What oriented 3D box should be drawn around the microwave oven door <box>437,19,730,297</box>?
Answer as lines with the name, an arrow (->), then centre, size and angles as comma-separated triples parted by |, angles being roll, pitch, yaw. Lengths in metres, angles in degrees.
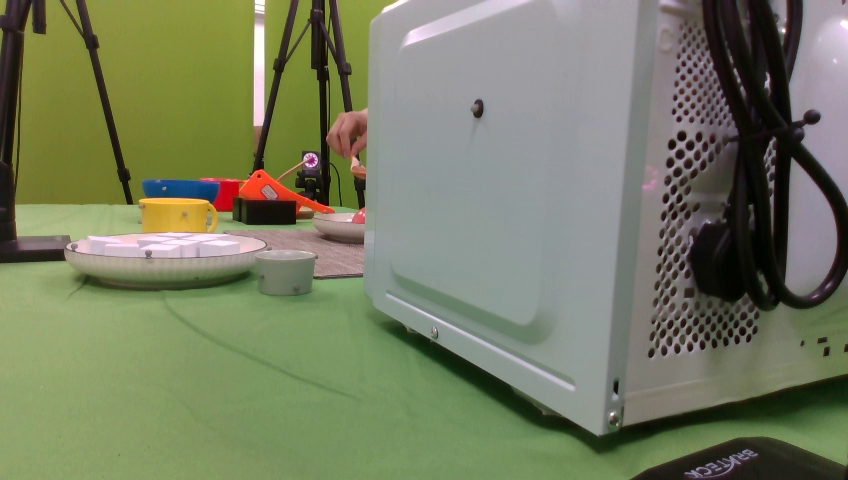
microwave oven door -> 0.180, -0.076, 0.618 | 0.358, 0.243, 0.039 | -2, 9, -28

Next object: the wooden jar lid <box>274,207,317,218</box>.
wooden jar lid -> -0.303, -0.065, 1.409 | 0.108, 0.020, 0.108 | 3, 9, 0

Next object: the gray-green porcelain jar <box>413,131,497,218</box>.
gray-green porcelain jar -> 0.060, -0.111, 1.074 | 0.106, 0.127, 0.105 | -36, 15, 12

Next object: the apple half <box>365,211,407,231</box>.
apple half -> -0.068, -0.037, 1.103 | 0.081, 0.033, 0.081 | -2, 10, 1

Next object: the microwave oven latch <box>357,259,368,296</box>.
microwave oven latch -> -0.019, 0.031, 0.528 | 0.079, 0.029, 0.030 | -1, 7, -25

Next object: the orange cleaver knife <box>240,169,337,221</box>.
orange cleaver knife -> -0.287, -0.081, 1.298 | 0.212, 0.077, 0.012 | 25, -3, -31

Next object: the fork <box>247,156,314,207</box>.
fork -> -0.360, -0.147, 1.523 | 0.207, 0.018, 0.028 | -43, 16, -7

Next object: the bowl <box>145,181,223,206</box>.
bowl -> -0.499, -0.081, 1.261 | 0.151, 0.077, 0.151 | 2, 8, 0

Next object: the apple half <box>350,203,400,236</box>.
apple half -> -0.081, -0.036, 1.023 | 0.081, 0.053, 0.074 | -2, 10, -34

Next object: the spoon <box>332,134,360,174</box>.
spoon -> -0.135, -0.160, 1.116 | 0.042, 0.021, 0.193 | 3, 30, -29

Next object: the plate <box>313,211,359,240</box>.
plate -> -0.090, -0.026, 1.063 | 0.209, 0.038, 0.209 | 2, 7, 0

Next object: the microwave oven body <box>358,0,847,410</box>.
microwave oven body -> 0.210, -0.051, 0.471 | 0.444, 0.260, 0.324 | -1, 7, -28

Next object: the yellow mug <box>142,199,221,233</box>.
yellow mug -> -0.373, -0.030, 0.948 | 0.099, 0.064, 0.131 | 6, 7, 30

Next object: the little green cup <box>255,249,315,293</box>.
little green cup -> -0.144, 0.031, 0.627 | 0.061, 0.038, 0.061 | 2, 6, 0

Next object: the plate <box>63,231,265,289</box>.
plate -> -0.288, 0.021, 0.687 | 0.208, 0.039, 0.207 | 2, 8, 0
